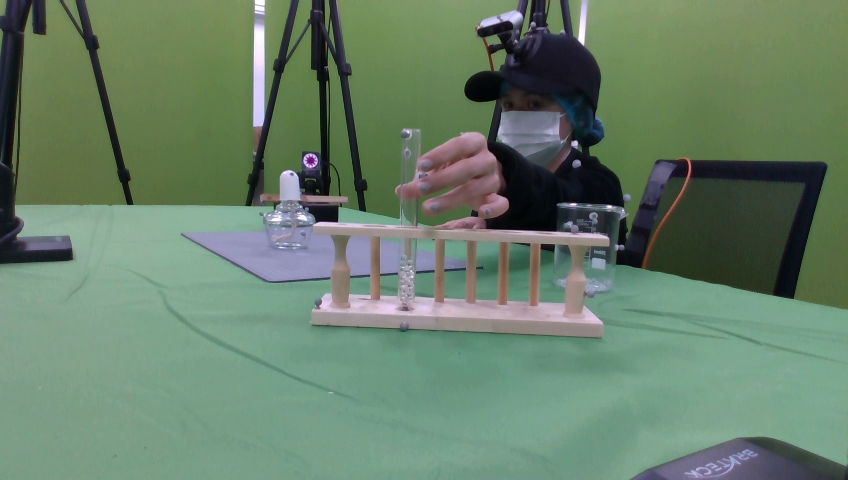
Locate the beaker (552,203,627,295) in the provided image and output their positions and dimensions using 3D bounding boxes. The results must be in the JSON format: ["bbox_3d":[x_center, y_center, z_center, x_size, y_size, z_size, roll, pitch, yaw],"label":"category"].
[{"bbox_3d":[0.191,0.010,0.708,0.083,0.100,0.074,8,10,33],"label":"beaker"}]

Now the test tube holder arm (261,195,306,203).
[{"bbox_3d":[-0.275,-0.081,1.184,0.088,0.015,0.010,-1,0,-32],"label":"test tube holder arm"}]

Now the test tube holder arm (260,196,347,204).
[{"bbox_3d":[-0.239,-0.081,1.213,0.179,0.015,0.013,-1,0,-32],"label":"test tube holder arm"}]

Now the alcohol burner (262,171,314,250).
[{"bbox_3d":[-0.205,-0.045,0.913,0.078,0.119,0.078,1,9,0],"label":"alcohol burner"}]

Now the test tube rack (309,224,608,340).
[{"bbox_3d":[0.028,0.032,0.527,0.242,0.085,0.067,3,7,0],"label":"test tube rack"}]

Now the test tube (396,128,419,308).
[{"bbox_3d":[-0.014,-0.016,0.501,0.017,0.150,0.017,2,11,0],"label":"test tube"}]

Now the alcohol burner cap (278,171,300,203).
[{"bbox_3d":[-0.203,-0.080,0.909,0.034,0.048,0.034,0,3,0],"label":"alcohol burner cap"}]
